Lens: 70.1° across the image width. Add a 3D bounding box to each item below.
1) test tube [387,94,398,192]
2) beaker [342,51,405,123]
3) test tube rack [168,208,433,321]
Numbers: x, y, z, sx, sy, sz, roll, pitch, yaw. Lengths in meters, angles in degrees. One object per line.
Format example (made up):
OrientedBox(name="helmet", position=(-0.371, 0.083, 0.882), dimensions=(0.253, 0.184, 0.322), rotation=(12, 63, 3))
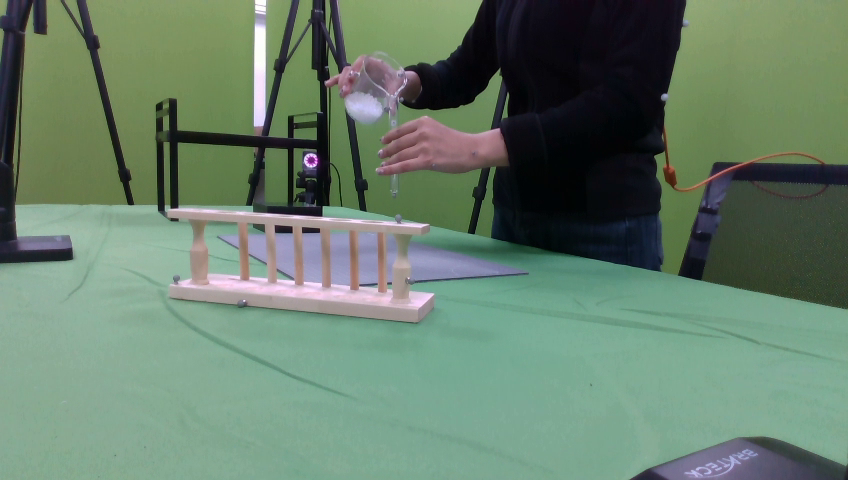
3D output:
OrientedBox(name="test tube", position=(-0.048, -0.148, 0.920), dimensions=(0.017, 0.150, 0.017), rotation=(-1, -5, 0))
OrientedBox(name="beaker", position=(-0.084, -0.240, 0.976), dimensions=(0.074, 0.084, 0.100), rotation=(-11, -19, -33))
OrientedBox(name="test tube rack", position=(-0.116, 0.017, 0.574), dimensions=(0.242, 0.085, 0.067), rotation=(4, 8, 13))
